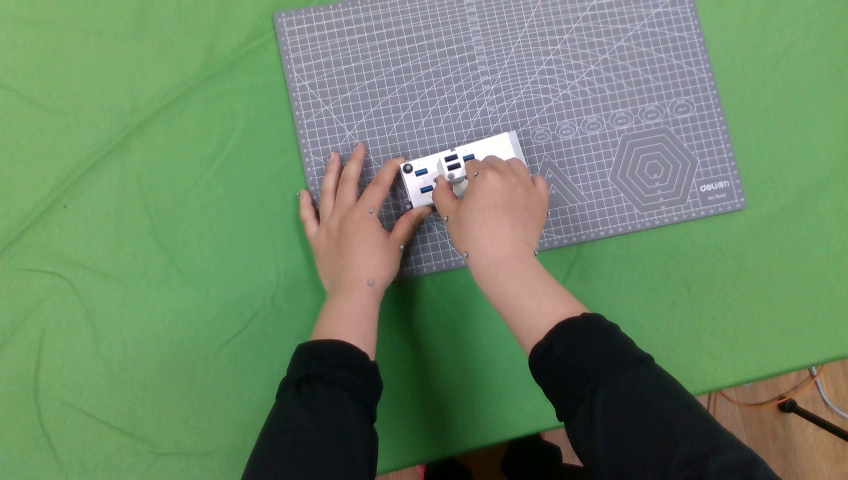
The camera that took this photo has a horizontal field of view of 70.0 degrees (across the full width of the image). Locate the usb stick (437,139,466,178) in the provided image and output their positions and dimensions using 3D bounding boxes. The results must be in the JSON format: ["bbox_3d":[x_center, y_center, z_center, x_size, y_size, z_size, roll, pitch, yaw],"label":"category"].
[{"bbox_3d":[0.026,-0.076,0.581,0.021,0.059,0.027,-22,84,-1],"label":"usb stick"}]

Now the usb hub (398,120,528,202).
[{"bbox_3d":[0.039,-0.082,0.618,0.125,0.025,0.049,-17,86,-5],"label":"usb hub"}]
